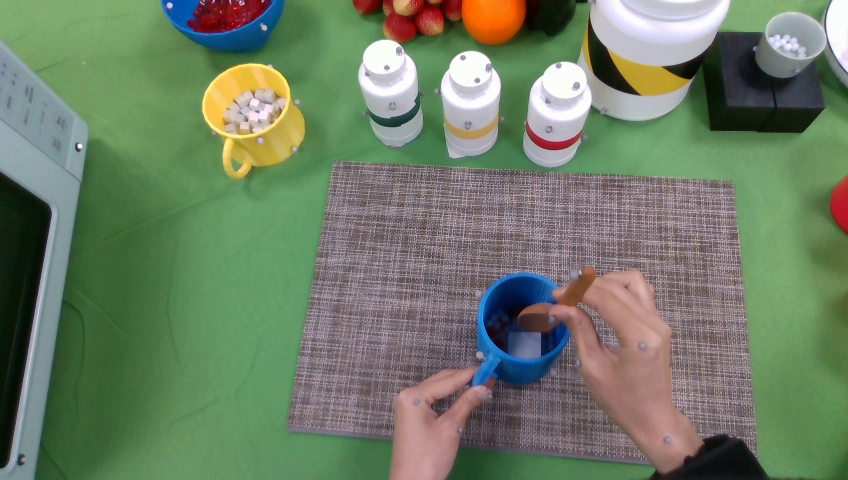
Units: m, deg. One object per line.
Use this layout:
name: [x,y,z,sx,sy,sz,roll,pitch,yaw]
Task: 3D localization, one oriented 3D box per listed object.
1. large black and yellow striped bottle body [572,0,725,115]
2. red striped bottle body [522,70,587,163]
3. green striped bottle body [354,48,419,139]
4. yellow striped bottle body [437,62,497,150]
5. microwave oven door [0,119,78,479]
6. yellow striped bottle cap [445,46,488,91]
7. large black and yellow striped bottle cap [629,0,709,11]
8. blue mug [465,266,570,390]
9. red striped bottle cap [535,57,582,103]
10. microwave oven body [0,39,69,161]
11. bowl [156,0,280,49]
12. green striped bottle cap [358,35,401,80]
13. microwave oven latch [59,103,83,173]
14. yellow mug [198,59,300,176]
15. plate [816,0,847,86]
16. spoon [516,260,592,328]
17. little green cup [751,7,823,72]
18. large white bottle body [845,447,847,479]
large black and yellow striped bottle body: [0.235,-0.234,0.643,0.131,0.185,0.130,-1,68,4]
red striped bottle body: [0.138,-0.138,0.646,0.063,0.120,0.062,-2,67,6]
green striped bottle body: [-0.040,-0.168,0.671,0.063,0.120,0.062,-1,68,4]
yellow striped bottle body: [0.047,-0.154,0.658,0.063,0.121,0.062,-2,68,4]
microwave oven door: [-0.411,0.049,0.527,0.039,0.245,0.353,-6,68,3]
yellow striped bottle cap: [0.043,-0.173,0.611,0.044,0.019,0.044,-1,70,3]
large black and yellow striped bottle cap: [0.228,-0.264,0.564,0.115,0.019,0.114,-2,67,4]
blue mug: [0.077,0.092,0.565,0.082,0.106,0.116,37,76,17]
red striped bottle cap: [0.133,-0.158,0.598,0.044,0.018,0.044,0,67,0]
microwave oven body: [-0.559,0.025,0.552,0.326,0.262,0.438,-5,69,2]
bowl: [-0.243,-0.294,0.755,0.151,0.077,0.150,-1,69,3]
green striped bottle cap: [-0.046,-0.188,0.622,0.044,0.020,0.044,-1,68,2]
microwave oven latch: [-0.417,-0.117,0.701,0.030,0.030,0.078,-4,69,2]
yellow mug: [-0.205,-0.135,0.697,0.100,0.064,0.130,13,71,8]
plate: [0.557,-0.232,0.698,0.209,0.038,0.207,-1,69,3]
spoon: [0.104,0.047,0.475,0.041,0.194,0.021,2,75,0]
little green cup: [0.385,-0.212,0.647,0.061,0.039,0.061,0,67,1]
large white bottle body: [0.440,0.186,0.465,0.130,0.186,0.129,-1,68,4]
